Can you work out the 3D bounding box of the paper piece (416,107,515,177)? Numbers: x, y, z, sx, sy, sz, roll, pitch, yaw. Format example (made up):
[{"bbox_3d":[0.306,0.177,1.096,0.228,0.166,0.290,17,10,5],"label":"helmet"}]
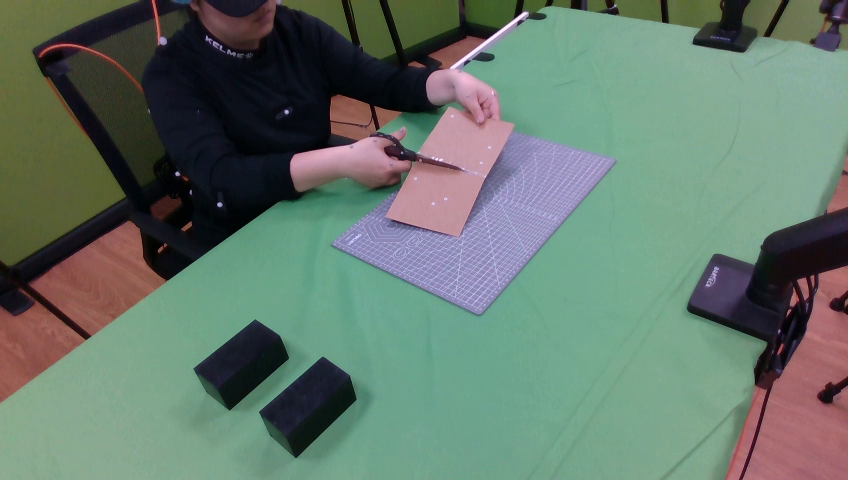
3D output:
[{"bbox_3d":[0.077,-0.180,1.094,0.135,0.009,0.138,24,57,13],"label":"paper piece"}]

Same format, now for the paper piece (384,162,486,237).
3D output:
[{"bbox_3d":[0.021,-0.073,1.028,0.135,0.004,0.135,16,58,16],"label":"paper piece"}]

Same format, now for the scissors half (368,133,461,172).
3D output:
[{"bbox_3d":[-0.017,-0.151,1.065,0.175,0.040,0.013,23,63,0],"label":"scissors half"}]

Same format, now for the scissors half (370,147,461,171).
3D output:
[{"bbox_3d":[-0.016,-0.140,1.083,0.174,0.040,0.013,12,56,19],"label":"scissors half"}]
